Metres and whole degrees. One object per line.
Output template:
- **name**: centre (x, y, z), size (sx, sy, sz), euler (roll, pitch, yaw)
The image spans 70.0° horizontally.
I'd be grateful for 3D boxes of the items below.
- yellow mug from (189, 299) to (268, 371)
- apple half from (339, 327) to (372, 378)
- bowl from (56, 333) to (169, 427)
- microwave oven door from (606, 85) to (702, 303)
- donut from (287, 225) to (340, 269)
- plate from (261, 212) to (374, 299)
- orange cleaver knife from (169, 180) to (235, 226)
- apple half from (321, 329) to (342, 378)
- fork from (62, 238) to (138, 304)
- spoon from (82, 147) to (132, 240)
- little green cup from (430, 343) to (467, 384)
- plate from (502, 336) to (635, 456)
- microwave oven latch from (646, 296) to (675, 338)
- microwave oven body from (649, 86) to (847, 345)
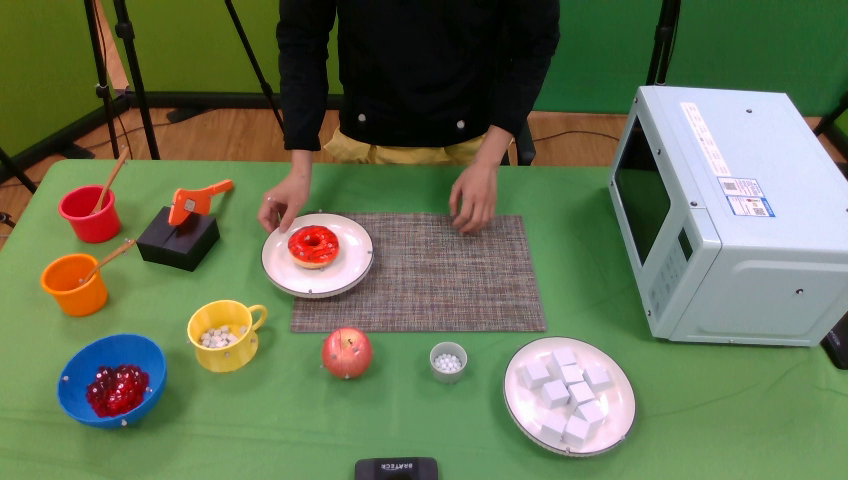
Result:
- **yellow mug**: centre (-0.316, 0.148, 1.002), size (0.131, 0.064, 0.099), euler (-33, 56, -31)
- **apple half**: centre (-0.111, 0.183, 0.980), size (0.053, 0.075, 0.080), euler (-2, 42, -12)
- **bowl**: centre (-0.456, 0.223, 0.911), size (0.151, 0.077, 0.150), euler (3, 46, -2)
- **microwave oven door**: centre (0.423, -0.094, 1.140), size (0.039, 0.245, 0.353), euler (2, 46, -1)
- **donut**: centre (-0.207, 0.013, 1.139), size (0.099, 0.048, 0.098), euler (3, 45, -3)
- **plate**: centre (-0.198, 0.032, 1.137), size (0.209, 0.038, 0.208), euler (2, 46, -2)
- **orange cleaver knife**: centre (-0.436, -0.076, 1.199), size (0.012, 0.077, 0.211), euler (17, 17, 9)
- **apple half**: centre (-0.149, 0.185, 0.972), size (0.033, 0.081, 0.080), euler (-2, 46, -12)
- **fork**: centre (-0.547, 0.053, 1.018), size (0.207, 0.019, 0.028), euler (-36, 41, 23)
- **spoon**: centre (-0.602, -0.089, 1.156), size (0.041, 0.022, 0.193), euler (27, 95, 19)
- **little green cup**: centre (0.039, 0.203, 0.994), size (0.061, 0.039, 0.061), euler (2, 46, -2)
- **plate**: centre (0.225, 0.248, 0.963), size (0.208, 0.039, 0.206), euler (2, 46, -2)
- **microwave oven latch**: centre (0.412, 0.134, 1.061), size (0.030, 0.029, 0.078), euler (4, 45, 1)
- **microwave oven body**: centre (0.568, -0.053, 1.118), size (0.326, 0.261, 0.439), euler (2, 45, -1)
